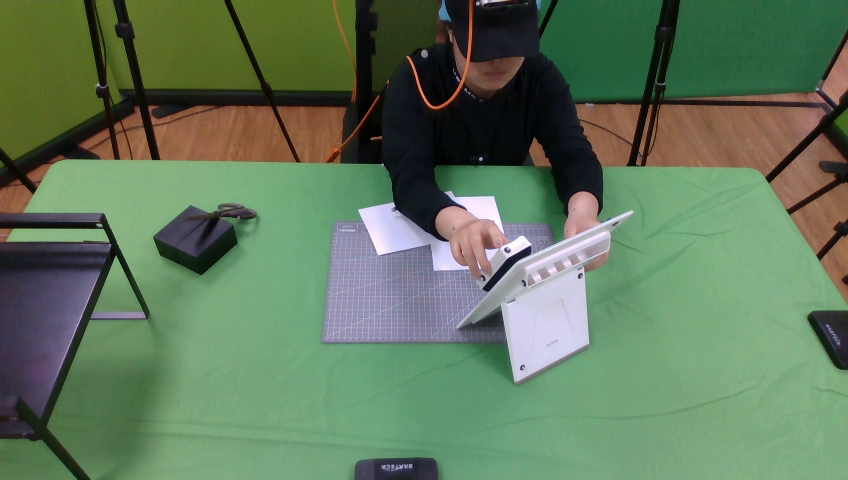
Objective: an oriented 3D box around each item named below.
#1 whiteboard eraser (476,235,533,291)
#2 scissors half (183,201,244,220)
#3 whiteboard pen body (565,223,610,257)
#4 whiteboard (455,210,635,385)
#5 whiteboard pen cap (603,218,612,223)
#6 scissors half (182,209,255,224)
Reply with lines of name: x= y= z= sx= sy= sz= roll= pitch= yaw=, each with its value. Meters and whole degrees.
whiteboard eraser: x=0.125 y=0.041 z=0.941 sx=0.055 sy=0.113 sz=0.041 roll=-23 pitch=69 yaw=-29
scissors half: x=-0.405 y=-0.054 z=1.163 sx=0.040 sy=0.013 sz=0.175 roll=28 pitch=18 yaw=7
whiteboard pen body: x=0.335 y=-0.003 z=1.228 sx=0.141 sy=0.017 sz=0.017 roll=-32 pitch=56 yaw=-29
whiteboard: x=0.211 y=0.111 z=0.955 sx=0.217 sy=0.306 sz=0.143 roll=-20 pitch=71 yaw=-23
whiteboard pen cap: x=0.379 y=-0.031 z=1.255 sx=0.033 sy=0.018 sz=0.018 roll=-33 pitch=56 yaw=-30
scissors half: x=-0.389 y=-0.043 z=1.158 sx=0.040 sy=0.013 sz=0.175 roll=40 pitch=21 yaw=23
